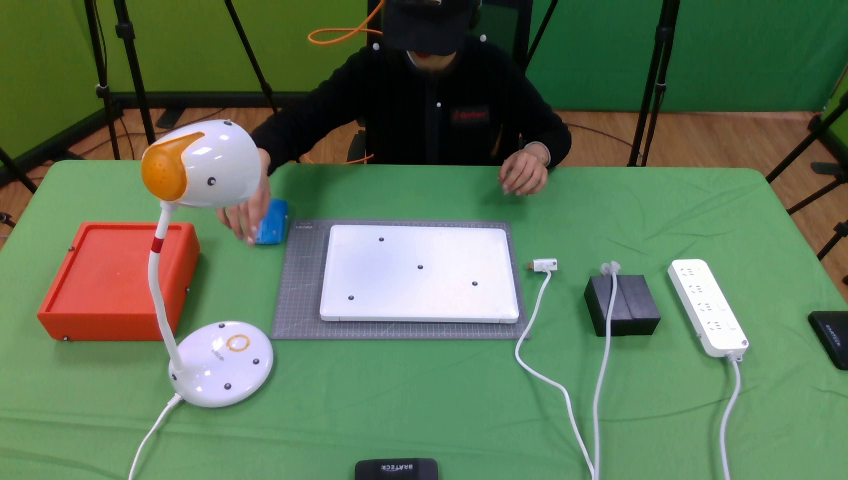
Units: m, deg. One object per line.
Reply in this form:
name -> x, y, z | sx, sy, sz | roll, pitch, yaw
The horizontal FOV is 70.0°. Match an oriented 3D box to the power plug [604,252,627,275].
power plug -> 0.367, 0.040, 1.129 | 0.035, 0.072, 0.052 | 39, 59, -10

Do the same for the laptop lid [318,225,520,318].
laptop lid -> -0.009, 0.052, 1.131 | 0.357, 0.013, 0.240 | 2, 43, -2

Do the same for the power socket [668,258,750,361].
power socket -> 0.517, 0.118, 1.109 | 0.072, 0.033, 0.225 | -2, 46, -4

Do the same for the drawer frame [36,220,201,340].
drawer frame -> -0.518, 0.065, 1.055 | 0.202, 0.083, 0.212 | 0, 47, -5

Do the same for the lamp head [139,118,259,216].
lamp head -> -0.281, -0.086, 0.734 | 0.112, 0.113, 0.123 | 21, 25, 16

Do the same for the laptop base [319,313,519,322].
laptop base -> -0.009, 0.063, 1.137 | 0.354, 0.023, 0.234 | 1, 42, -3

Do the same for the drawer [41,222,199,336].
drawer -> -0.519, 0.064, 1.057 | 0.195, 0.073, 0.210 | 1, 46, -4

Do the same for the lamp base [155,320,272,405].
lamp base -> -0.330, 0.149, 0.918 | 0.160, 0.181, 0.179 | 26, 52, 20

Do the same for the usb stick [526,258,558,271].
usb stick -> 0.226, 0.046, 1.159 | 0.059, 0.021, 0.027 | -2, 8, 10

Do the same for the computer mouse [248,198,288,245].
computer mouse -> -0.309, -0.040, 1.205 | 0.063, 0.041, 0.116 | 3, 49, -3
